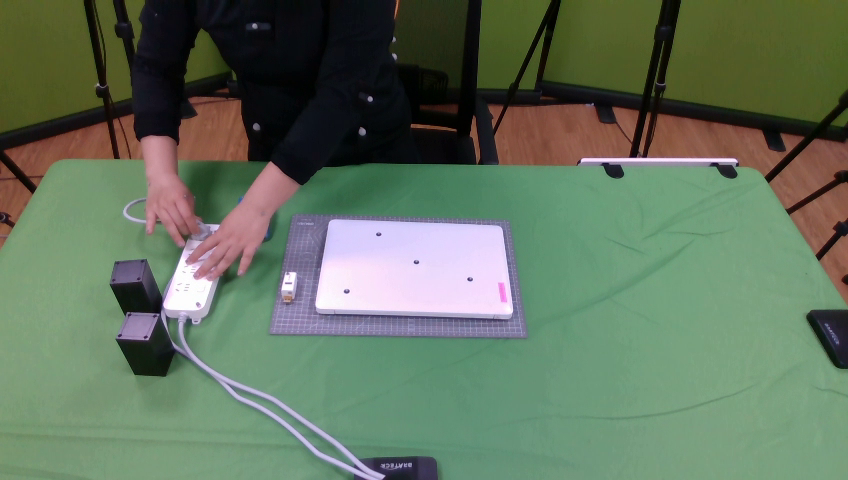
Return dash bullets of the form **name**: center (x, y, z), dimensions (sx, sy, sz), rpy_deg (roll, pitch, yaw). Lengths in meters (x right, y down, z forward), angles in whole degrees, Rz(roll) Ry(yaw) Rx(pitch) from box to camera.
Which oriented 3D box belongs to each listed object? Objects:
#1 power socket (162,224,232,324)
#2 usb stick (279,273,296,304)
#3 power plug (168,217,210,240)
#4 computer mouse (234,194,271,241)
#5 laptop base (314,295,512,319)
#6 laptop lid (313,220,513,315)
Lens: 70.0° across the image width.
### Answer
- **power socket**: center (-0.410, 0.052, 1.107), dimensions (0.072, 0.033, 0.225), rpy_deg (4, 46, -2)
- **usb stick**: center (-0.245, 0.088, 1.085), dimensions (0.021, 0.027, 0.059), rpy_deg (5, 46, -3)
- **power plug**: center (-0.438, -0.023, 1.133), dimensions (0.073, 0.053, 0.035), rpy_deg (21, 40, -9)
- **computer mouse**: center (-0.340, -0.049, 1.207), dimensions (0.063, 0.041, 0.116), rpy_deg (1, 51, -8)
- **laptop base**: center (-0.018, 0.055, 1.144), dimensions (0.354, 0.023, 0.234), rpy_deg (2, 42, -2)
- **laptop lid**: center (-0.017, 0.045, 1.138), dimensions (0.357, 0.013, 0.240), rpy_deg (3, 43, -1)
